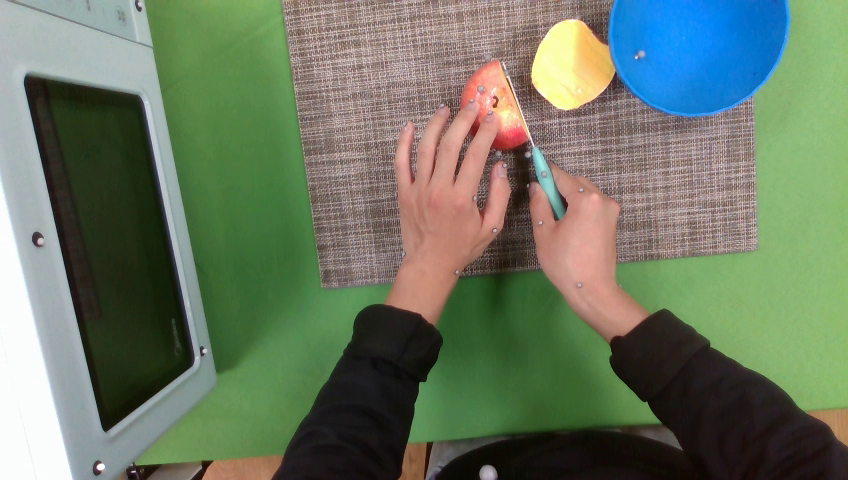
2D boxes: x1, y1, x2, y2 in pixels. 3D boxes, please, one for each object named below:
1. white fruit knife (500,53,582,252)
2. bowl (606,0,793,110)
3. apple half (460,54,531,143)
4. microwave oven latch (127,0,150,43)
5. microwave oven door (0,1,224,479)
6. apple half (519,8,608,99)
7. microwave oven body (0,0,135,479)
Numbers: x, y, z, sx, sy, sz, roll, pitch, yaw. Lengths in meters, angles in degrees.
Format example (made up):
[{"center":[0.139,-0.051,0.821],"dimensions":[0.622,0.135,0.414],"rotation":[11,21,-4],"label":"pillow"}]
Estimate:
[{"center":[0.111,-0.086,0.587],"dimensions":[0.016,0.027,0.207],"rotation":[-22,86,11],"label":"white fruit knife"},{"center":[0.234,-0.192,0.546],"dimensions":[0.151,0.076,0.152],"rotation":[1,100,4],"label":"bowl"},{"center":[0.063,-0.127,0.572],"dimensions":[0.053,0.074,0.081],"rotation":[-23,101,18],"label":"apple half"},{"center":[-0.288,-0.230,0.581],"dimensions":[0.030,0.029,0.079],"rotation":[-7,100,5],"label":"microwave oven latch"},{"center":[-0.267,0.000,0.516],"dimensions":[0.039,0.243,0.356],"rotation":[-8,99,6],"label":"microwave oven door"},{"center":[0.128,-0.173,0.573],"dimensions":[0.081,0.032,0.081],"rotation":[2,105,7],"label":"apple half"},{"center":[-0.417,-0.023,0.527],"dimensions":[0.326,0.259,0.443],"rotation":[-8,99,4],"label":"microwave oven body"}]
